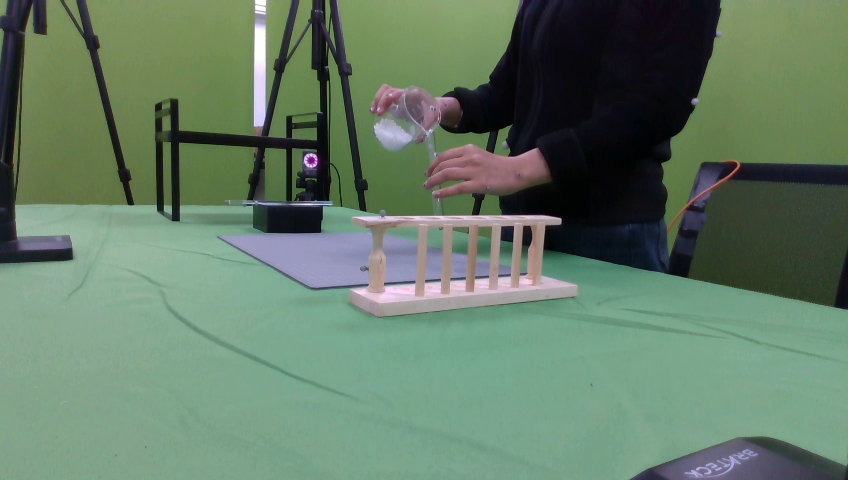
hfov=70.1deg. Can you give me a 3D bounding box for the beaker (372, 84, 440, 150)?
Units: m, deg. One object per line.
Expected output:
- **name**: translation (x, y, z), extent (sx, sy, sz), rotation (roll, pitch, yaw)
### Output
- **beaker**: translation (-0.031, -0.194, 0.988), extent (0.074, 0.084, 0.100), rotation (-11, -9, -41)

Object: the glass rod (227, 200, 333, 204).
- **glass rod**: translation (-0.268, -0.071, 1.143), extent (0.201, 0.008, 0.008), rotation (-1, 8, -29)

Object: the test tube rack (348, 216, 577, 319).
- **test tube rack**: translation (0.048, 0.021, 0.619), extent (0.244, 0.085, 0.066), rotation (-2, 9, -31)

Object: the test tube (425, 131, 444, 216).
- **test tube**: translation (0.017, -0.097, 0.942), extent (0.017, 0.150, 0.017), rotation (-7, -6, 0)
